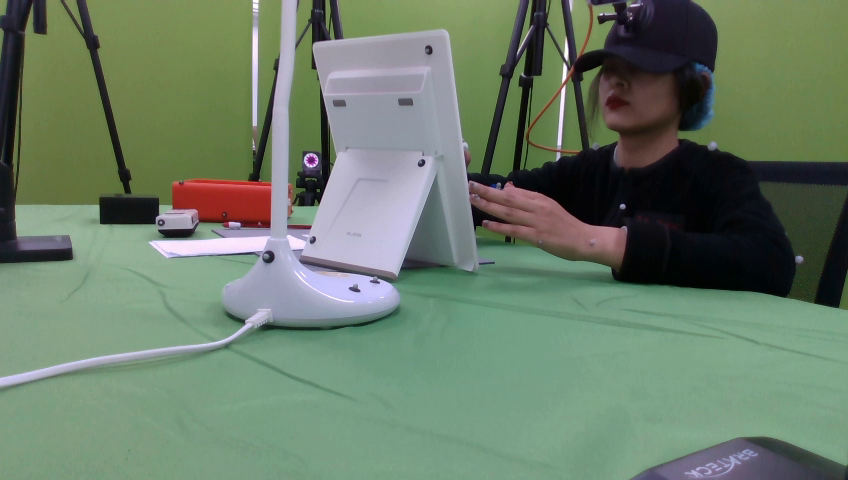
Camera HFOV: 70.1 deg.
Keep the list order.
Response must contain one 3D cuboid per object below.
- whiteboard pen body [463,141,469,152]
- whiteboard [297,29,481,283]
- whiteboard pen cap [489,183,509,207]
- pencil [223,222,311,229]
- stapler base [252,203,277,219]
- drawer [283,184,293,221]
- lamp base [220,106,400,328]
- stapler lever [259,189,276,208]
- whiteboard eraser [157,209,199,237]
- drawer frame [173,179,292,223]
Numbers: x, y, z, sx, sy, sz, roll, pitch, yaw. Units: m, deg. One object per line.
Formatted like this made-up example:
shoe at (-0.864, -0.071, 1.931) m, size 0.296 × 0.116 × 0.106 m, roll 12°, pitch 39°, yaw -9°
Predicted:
whiteboard pen body at (0.039, -0.125, 0.809) m, size 0.017 × 0.017 × 0.141 m, roll 5°, pitch 10°, yaw 16°
whiteboard at (-0.075, -0.082, 0.741) m, size 0.216 × 0.305 × 0.144 m, roll 9°, pitch 29°, yaw 37°
whiteboard pen cap at (0.098, -0.059, 0.795) m, size 0.018 × 0.018 × 0.033 m, roll -2°, pitch 45°, yaw -28°
pencil at (-0.274, -0.026, 1.132) m, size 0.195 × 0.012 × 0.012 m, roll 1°, pitch 8°, yaw -25°
stapler base at (-0.341, -0.065, 1.301) m, size 0.041 × 0.024 × 0.130 m, roll 15°, pitch 5°, yaw -10°
drawer at (-0.396, -0.085, 1.301) m, size 0.212 × 0.073 × 0.194 m, roll 1°, pitch 8°, yaw -7°
lamp base at (-0.101, -0.023, 0.531) m, size 0.160 × 0.180 × 0.179 m, roll 4°, pitch 10°, yaw 10°
stapler lever at (-0.335, -0.090, 1.300) m, size 0.027 × 0.040 × 0.118 m, roll 15°, pitch 4°, yaw -10°
whiteboard eraser at (-0.411, -0.029, 1.016) m, size 0.056 × 0.042 × 0.112 m, roll 2°, pitch 7°, yaw -16°
drawer frame at (-0.400, -0.086, 1.299) m, size 0.214 × 0.082 × 0.201 m, roll 1°, pitch 8°, yaw -8°
